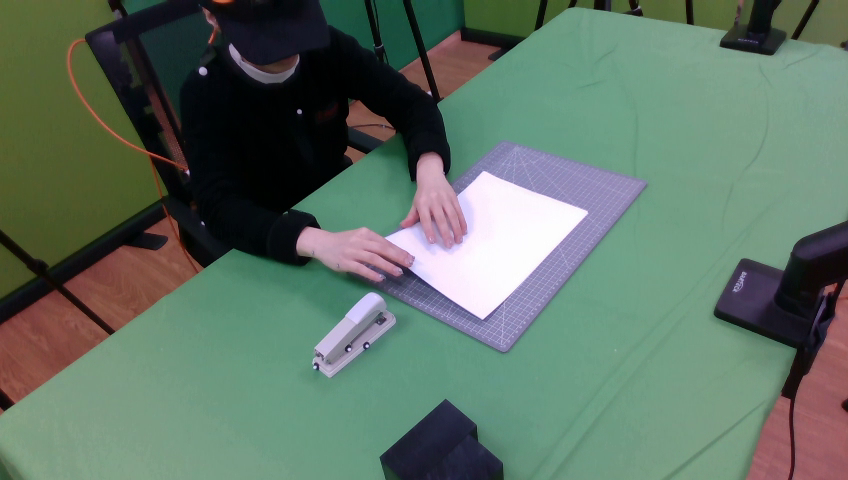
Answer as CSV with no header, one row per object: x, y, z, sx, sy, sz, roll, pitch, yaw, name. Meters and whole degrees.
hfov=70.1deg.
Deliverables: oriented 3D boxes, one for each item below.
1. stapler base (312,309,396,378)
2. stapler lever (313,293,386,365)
-0.096,0.133,0.831,0.041,0.024,0.131,25,52,36,stapler base
-0.099,0.116,0.814,0.026,0.040,0.118,25,51,36,stapler lever
